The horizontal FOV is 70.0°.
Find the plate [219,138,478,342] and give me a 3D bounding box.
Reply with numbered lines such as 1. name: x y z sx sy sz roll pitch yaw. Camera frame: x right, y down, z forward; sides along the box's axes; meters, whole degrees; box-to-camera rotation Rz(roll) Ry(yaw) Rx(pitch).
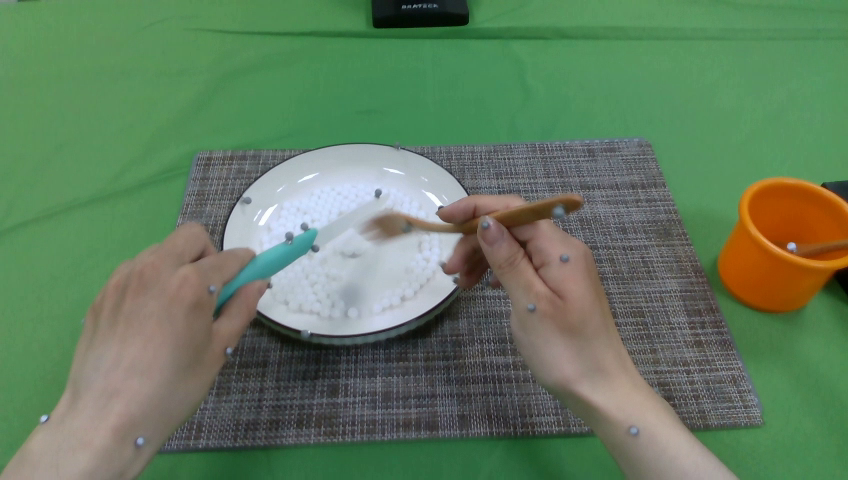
1. plate: -0.059 -0.003 0.503 0.209 0.038 0.207 0 51 0

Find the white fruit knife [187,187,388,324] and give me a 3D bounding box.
1. white fruit knife: -0.090 0.000 0.455 0.016 0.027 0.207 31 40 19

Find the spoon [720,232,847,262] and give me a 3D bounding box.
1. spoon: 0.308 0.002 0.439 0.041 0.193 0.022 -31 101 -26

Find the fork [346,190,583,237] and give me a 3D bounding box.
1. fork: 0.014 -0.016 0.390 0.206 0.028 0.018 -1 50 51
